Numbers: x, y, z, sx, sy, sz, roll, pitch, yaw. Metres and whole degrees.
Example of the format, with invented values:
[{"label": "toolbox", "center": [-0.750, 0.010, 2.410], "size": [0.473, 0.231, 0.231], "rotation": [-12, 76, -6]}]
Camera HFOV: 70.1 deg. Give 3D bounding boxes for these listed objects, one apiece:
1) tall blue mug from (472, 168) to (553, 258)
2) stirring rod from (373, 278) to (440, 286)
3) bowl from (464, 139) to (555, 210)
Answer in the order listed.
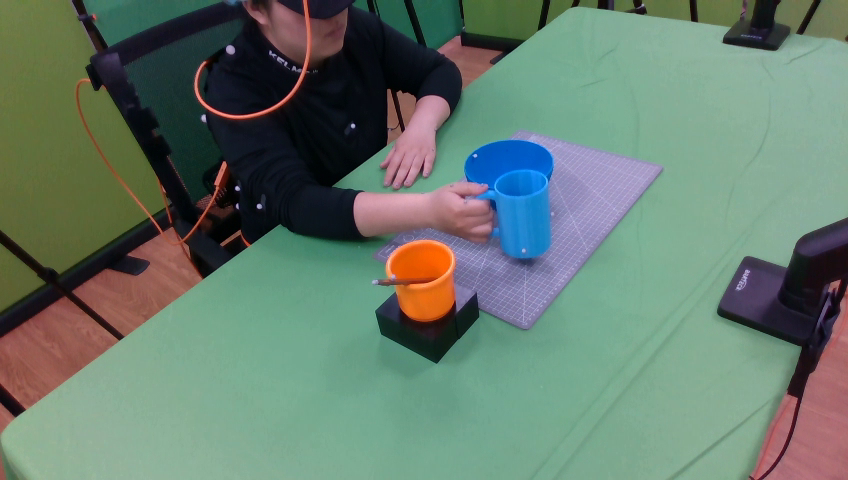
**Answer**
[{"label": "tall blue mug", "center": [0.130, -0.036, 0.875], "size": [0.107, 0.108, 0.077], "rotation": [-15, 36, -4]}, {"label": "stirring rod", "center": [-0.018, 0.052, 0.758], "size": [0.014, 0.006, 0.177], "rotation": [12, 2, 23]}, {"label": "bowl", "center": [0.145, -0.100, 1.025], "size": [0.151, 0.077, 0.150], "rotation": [-5, 40, 5]}]
